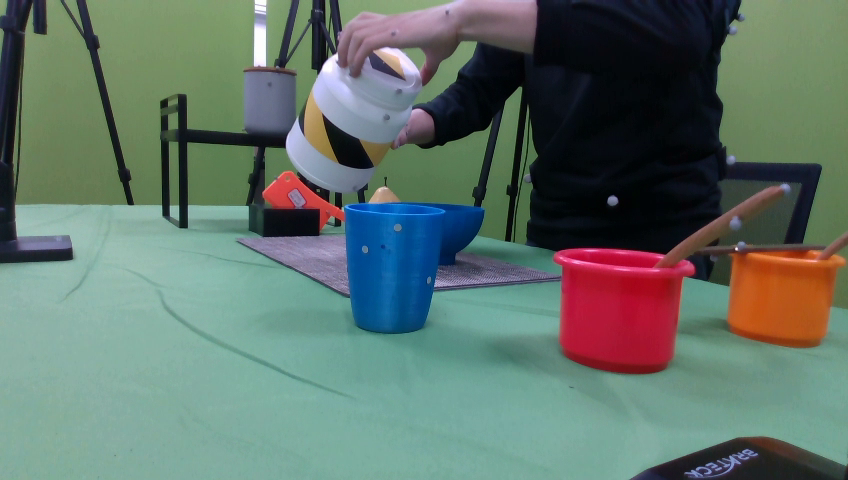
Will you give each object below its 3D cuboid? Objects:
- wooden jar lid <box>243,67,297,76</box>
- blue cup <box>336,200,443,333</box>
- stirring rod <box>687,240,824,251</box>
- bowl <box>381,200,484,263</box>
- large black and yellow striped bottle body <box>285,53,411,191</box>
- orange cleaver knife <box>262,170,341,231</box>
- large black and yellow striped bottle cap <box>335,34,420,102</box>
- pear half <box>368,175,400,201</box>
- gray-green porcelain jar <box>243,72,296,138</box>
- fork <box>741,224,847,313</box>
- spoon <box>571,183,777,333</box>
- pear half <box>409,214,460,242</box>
[{"bbox_3d":[-0.319,-0.342,1.254,0.108,0.020,0.108,3,8,0],"label":"wooden jar lid"},{"bbox_3d":[-0.029,0.021,0.508,0.093,0.100,0.092,3,9,0],"label":"blue cup"},{"bbox_3d":[0.289,0.005,0.525,0.177,0.006,0.014,-1,6,-26],"label":"stirring rod"},{"bbox_3d":[0.008,-0.012,0.842,0.151,0.077,0.151,2,8,0],"label":"bowl"},{"bbox_3d":[-0.100,-0.172,0.834,0.131,0.183,0.130,22,41,-21],"label":"large black and yellow striped bottle body"},{"bbox_3d":[-0.201,-0.057,1.136,0.212,0.077,0.012,31,-3,-31],"label":"orange cleaver knife"},{"bbox_3d":[-0.058,-0.224,0.783,0.115,0.019,0.114,23,40,-21],"label":"large black and yellow striped bottle cap"},{"bbox_3d":[-0.064,-0.061,1.077,0.055,0.110,0.077,9,13,39],"label":"pear half"},{"bbox_3d":[-0.322,-0.279,1.263,0.106,0.126,0.106,3,8,0],"label":"gray-green porcelain jar"},{"bbox_3d":[0.323,0.013,0.485,0.028,0.018,0.207,9,-37,-5],"label":"fork"},{"bbox_3d":[0.161,0.020,0.413,0.042,0.021,0.193,1,-36,-24],"label":"spoon"},{"bbox_3d":[0.011,-0.020,0.848,0.070,0.031,0.088,2,11,33],"label":"pear half"}]
